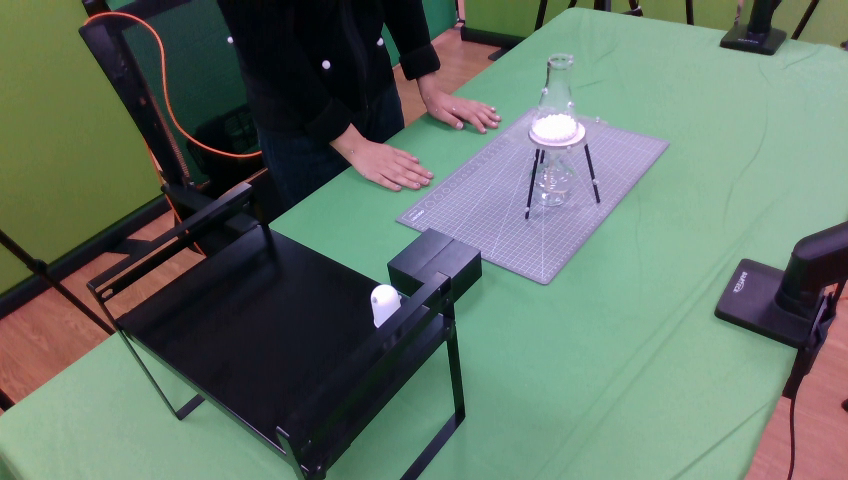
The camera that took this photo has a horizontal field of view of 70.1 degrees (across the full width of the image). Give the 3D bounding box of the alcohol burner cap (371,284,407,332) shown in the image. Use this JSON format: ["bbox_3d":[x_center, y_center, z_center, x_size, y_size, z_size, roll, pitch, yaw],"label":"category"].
[{"bbox_3d":[-0.037,0.066,0.608,0.034,0.048,0.033,-5,40,5],"label":"alcohol burner cap"}]

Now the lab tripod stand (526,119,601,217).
[{"bbox_3d":[0.220,-0.122,0.995,0.148,0.132,0.147,-3,39,3],"label":"lab tripod stand"}]

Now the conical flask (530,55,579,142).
[{"bbox_3d":[0.200,-0.216,0.914,0.075,0.122,0.075,-3,41,3],"label":"conical flask"}]

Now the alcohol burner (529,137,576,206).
[{"bbox_3d":[0.214,-0.117,1.005,0.078,0.119,0.077,-4,38,4],"label":"alcohol burner"}]

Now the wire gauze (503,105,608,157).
[{"bbox_3d":[0.208,-0.172,0.954,0.120,0.011,0.125,22,50,32],"label":"wire gauze"}]
